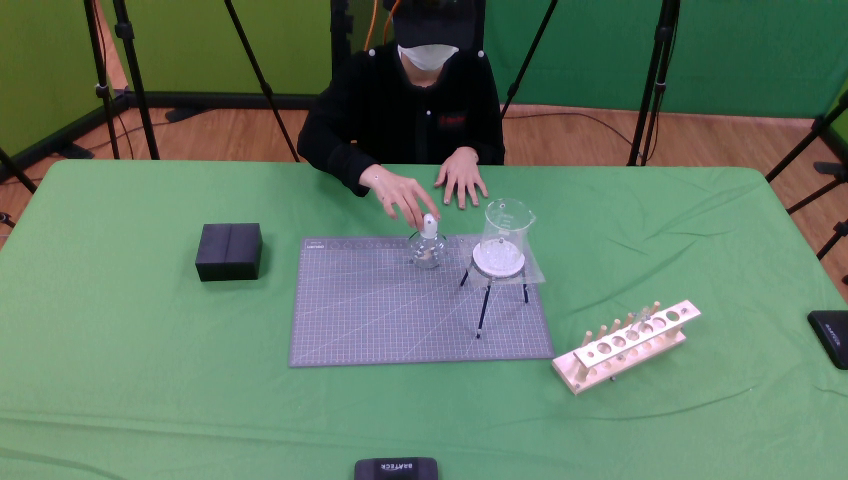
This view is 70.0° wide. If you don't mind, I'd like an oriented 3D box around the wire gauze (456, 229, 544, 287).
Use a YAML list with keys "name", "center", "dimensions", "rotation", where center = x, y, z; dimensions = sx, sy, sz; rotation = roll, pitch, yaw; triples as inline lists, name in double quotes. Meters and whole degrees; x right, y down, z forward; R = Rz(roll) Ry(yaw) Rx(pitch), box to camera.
- name: "wire gauze"
  center: [0.125, 0.030, 1.008]
  dimensions: [0.125, 0.011, 0.120]
  rotation: [-2, 48, -11]

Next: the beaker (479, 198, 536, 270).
- name: "beaker"
  center: [0.131, -0.007, 0.975]
  dimensions: [0.084, 0.101, 0.073]
  rotation: [2, 46, -4]

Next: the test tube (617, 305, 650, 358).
- name: "test tube"
  center: [0.333, 0.149, 0.967]
  dimensions: [0.017, 0.151, 0.017]
  rotation: [0, 52, 1]

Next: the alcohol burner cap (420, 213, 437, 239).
- name: "alcohol burner cap"
  center: [0.010, -0.028, 1.108]
  dimensions: [0.034, 0.048, 0.033]
  rotation: [3, 46, -3]

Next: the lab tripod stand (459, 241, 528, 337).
- name: "lab tripod stand"
  center: [0.122, 0.075, 1.054]
  dimensions: [0.148, 0.132, 0.147]
  rotation: [3, 44, -3]

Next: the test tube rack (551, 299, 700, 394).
- name: "test tube rack"
  center: [0.339, 0.166, 1.021]
  dimensions: [0.242, 0.085, 0.066]
  rotation: [-19, 50, -21]

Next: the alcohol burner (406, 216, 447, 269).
- name: "alcohol burner"
  center: [0.006, -0.002, 1.134]
  dimensions: [0.078, 0.120, 0.077]
  rotation: [2, 48, -2]
